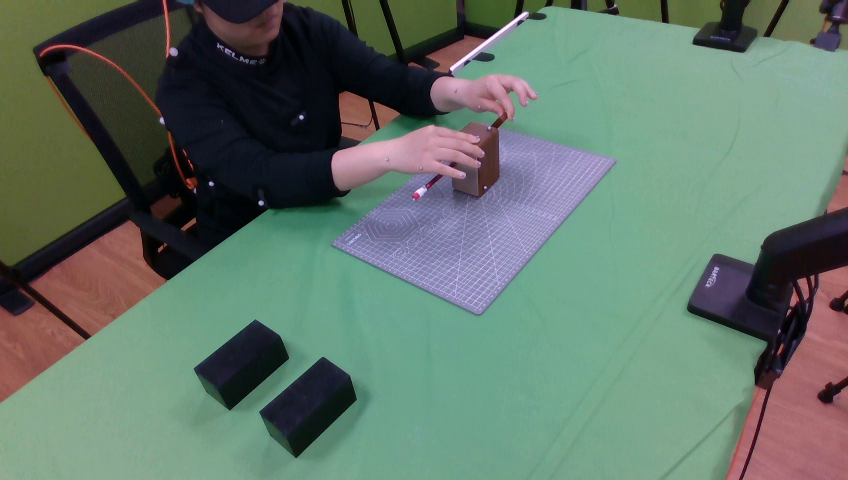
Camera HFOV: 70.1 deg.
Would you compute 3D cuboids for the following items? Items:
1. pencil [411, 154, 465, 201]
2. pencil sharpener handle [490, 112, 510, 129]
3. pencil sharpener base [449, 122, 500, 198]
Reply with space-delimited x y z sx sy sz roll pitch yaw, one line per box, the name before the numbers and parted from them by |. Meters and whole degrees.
pencil | 0.039 -0.117 0.986 0.012 0.012 0.194 21 46 30
pencil sharpener handle | 0.123 -0.196 1.052 0.036 0.067 0.031 46 53 -2
pencil sharpener base | 0.090 -0.140 1.052 0.061 0.107 0.077 20 47 29
